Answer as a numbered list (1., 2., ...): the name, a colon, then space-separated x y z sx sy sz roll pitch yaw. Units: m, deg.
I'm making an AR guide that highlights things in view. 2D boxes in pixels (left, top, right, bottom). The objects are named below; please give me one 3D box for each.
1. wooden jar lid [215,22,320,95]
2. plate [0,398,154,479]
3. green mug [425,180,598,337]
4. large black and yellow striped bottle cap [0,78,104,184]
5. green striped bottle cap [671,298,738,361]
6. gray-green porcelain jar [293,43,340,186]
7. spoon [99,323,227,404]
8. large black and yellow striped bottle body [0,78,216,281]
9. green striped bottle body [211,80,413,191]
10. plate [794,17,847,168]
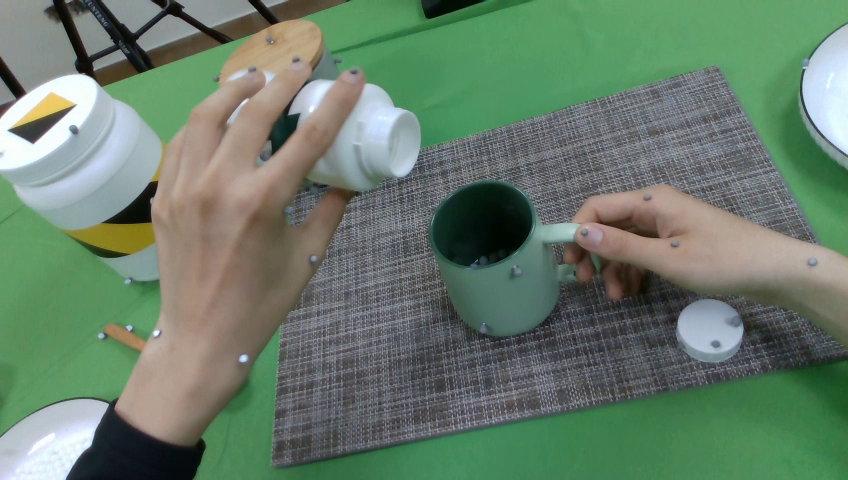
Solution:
1. wooden jar lid: -0.145 -0.165 0.573 0.108 0.021 0.107 -12 53 16
2. plate: -0.310 0.235 0.497 0.209 0.038 0.207 -9 54 13
3. green mug: 0.069 0.014 0.465 0.125 0.106 0.091 -6 55 16
4. large black and yellow striped bottle cap: -0.338 -0.099 0.536 0.115 0.019 0.114 -9 53 13
5. green striped bottle cap: 0.203 0.064 0.440 0.044 0.020 0.044 -10 50 13
6. gray-green porcelain jar: -0.127 -0.127 0.620 0.105 0.128 0.105 -10 50 13
7. spoon: -0.251 0.107 0.572 0.192 0.022 0.041 15 82 27
8. large black and yellow striped bottle body: -0.312 -0.055 0.603 0.130 0.186 0.129 -9 55 14
9. green striped bottle body: -0.066 -0.064 0.371 0.118 0.064 0.063 10 61 29
10. plate: 0.408 -0.112 0.476 0.207 0.039 0.205 -10 54 14
